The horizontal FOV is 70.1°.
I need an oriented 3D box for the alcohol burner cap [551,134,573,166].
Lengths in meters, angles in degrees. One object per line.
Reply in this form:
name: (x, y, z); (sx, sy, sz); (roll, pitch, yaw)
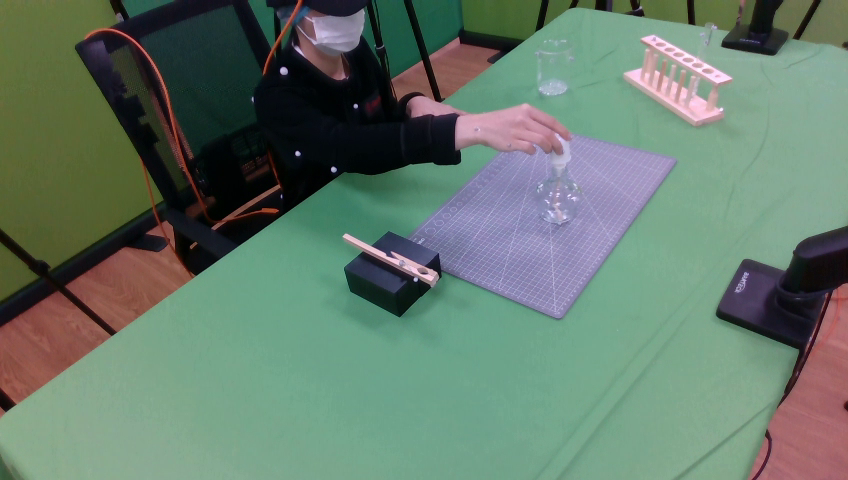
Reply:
alcohol burner cap: (0.208, -0.140, 0.919); (0.034, 0.048, 0.033); (-9, 46, 9)

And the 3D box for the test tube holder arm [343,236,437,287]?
test tube holder arm: (-0.054, 0.028, 0.879); (0.177, 0.015, 0.013); (22, 56, 32)

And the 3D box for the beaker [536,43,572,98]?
beaker: (0.280, -0.368, 1.311); (0.074, 0.101, 0.084); (4, 41, 14)

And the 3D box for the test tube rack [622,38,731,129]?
test tube rack: (0.506, -0.325, 1.234); (0.067, 0.085, 0.240); (-18, 41, -11)

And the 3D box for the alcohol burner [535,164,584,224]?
alcohol burner: (0.217, -0.085, 0.967); (0.078, 0.119, 0.077); (-3, 41, 3)

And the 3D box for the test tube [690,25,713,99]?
test tube: (0.534, -0.342, 1.173); (0.017, 0.151, 0.017); (-3, 41, 3)

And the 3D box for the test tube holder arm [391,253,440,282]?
test tube holder arm: (-0.015, 0.039, 0.858); (0.087, 0.015, 0.010); (22, 56, 32)
